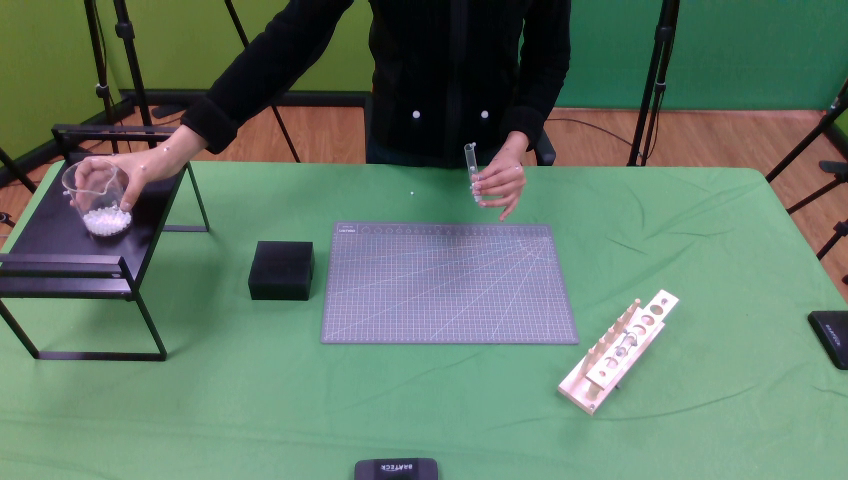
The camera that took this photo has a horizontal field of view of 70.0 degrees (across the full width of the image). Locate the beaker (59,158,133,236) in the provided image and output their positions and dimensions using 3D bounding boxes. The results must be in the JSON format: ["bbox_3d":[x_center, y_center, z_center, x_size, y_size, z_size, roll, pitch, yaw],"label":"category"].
[{"bbox_3d":[-0.488,-0.060,0.915,0.074,0.101,0.083,-34,58,-30],"label":"beaker"}]

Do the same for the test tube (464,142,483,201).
[{"bbox_3d":[0.085,-0.112,1.023,0.017,0.151,0.017,-6,57,9],"label":"test tube"}]

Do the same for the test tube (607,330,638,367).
[{"bbox_3d":[0.292,0.184,0.924,0.017,0.151,0.017,4,49,-4],"label":"test tube"}]

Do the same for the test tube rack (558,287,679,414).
[{"bbox_3d":[0.326,0.170,1.009,0.066,0.085,0.242,36,54,27],"label":"test tube rack"}]
